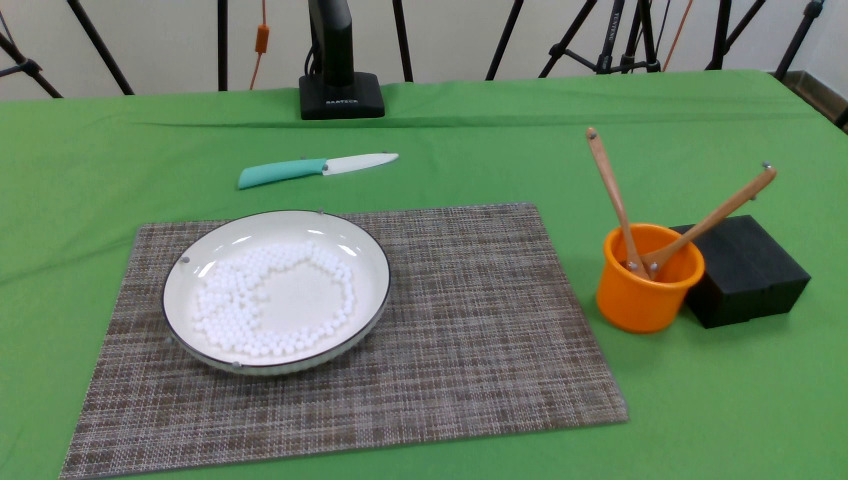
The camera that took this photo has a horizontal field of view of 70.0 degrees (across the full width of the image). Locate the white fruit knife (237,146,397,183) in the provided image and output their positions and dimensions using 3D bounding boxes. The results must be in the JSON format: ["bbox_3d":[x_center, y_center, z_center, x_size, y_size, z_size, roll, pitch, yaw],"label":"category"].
[{"bbox_3d":[-0.132,-0.101,0.766,0.208,0.016,0.027,-11,72,-18],"label":"white fruit knife"}]

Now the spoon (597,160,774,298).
[{"bbox_3d":[0.249,-0.009,0.581,0.041,0.194,0.022,53,22,9],"label":"spoon"}]

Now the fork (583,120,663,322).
[{"bbox_3d":[0.192,-0.020,0.593,0.028,0.018,0.207,-17,90,-6],"label":"fork"}]

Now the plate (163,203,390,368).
[{"bbox_3d":[-0.136,0.041,0.581,0.209,0.038,0.207,2,41,-1],"label":"plate"}]
